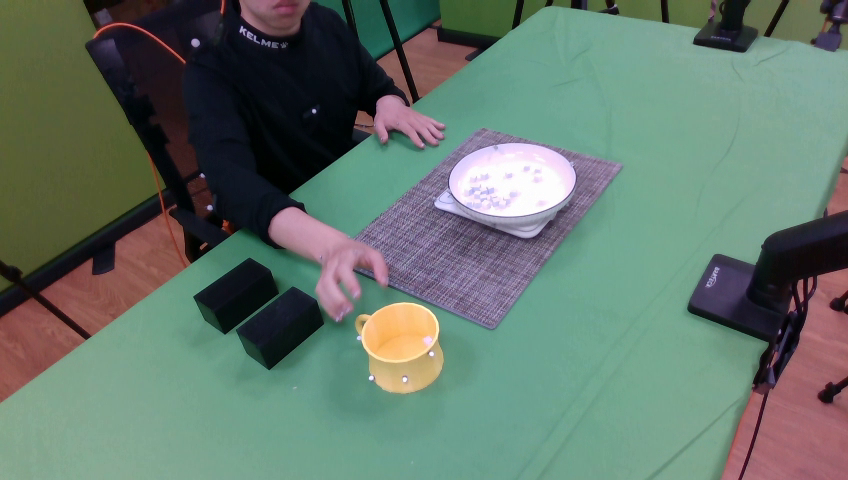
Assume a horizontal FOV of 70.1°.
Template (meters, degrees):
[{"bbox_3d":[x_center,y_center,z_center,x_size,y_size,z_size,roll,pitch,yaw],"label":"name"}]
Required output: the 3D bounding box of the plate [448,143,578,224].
[{"bbox_3d":[0.145,-0.089,0.989,0.209,0.038,0.208,-4,41,4],"label":"plate"}]

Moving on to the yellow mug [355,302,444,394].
[{"bbox_3d":[-0.040,0.133,0.786,0.130,0.064,0.100,20,47,29],"label":"yellow mug"}]

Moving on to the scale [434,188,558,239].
[{"bbox_3d":[0.132,-0.075,1.025,0.199,0.032,0.149,22,48,30],"label":"scale"}]
